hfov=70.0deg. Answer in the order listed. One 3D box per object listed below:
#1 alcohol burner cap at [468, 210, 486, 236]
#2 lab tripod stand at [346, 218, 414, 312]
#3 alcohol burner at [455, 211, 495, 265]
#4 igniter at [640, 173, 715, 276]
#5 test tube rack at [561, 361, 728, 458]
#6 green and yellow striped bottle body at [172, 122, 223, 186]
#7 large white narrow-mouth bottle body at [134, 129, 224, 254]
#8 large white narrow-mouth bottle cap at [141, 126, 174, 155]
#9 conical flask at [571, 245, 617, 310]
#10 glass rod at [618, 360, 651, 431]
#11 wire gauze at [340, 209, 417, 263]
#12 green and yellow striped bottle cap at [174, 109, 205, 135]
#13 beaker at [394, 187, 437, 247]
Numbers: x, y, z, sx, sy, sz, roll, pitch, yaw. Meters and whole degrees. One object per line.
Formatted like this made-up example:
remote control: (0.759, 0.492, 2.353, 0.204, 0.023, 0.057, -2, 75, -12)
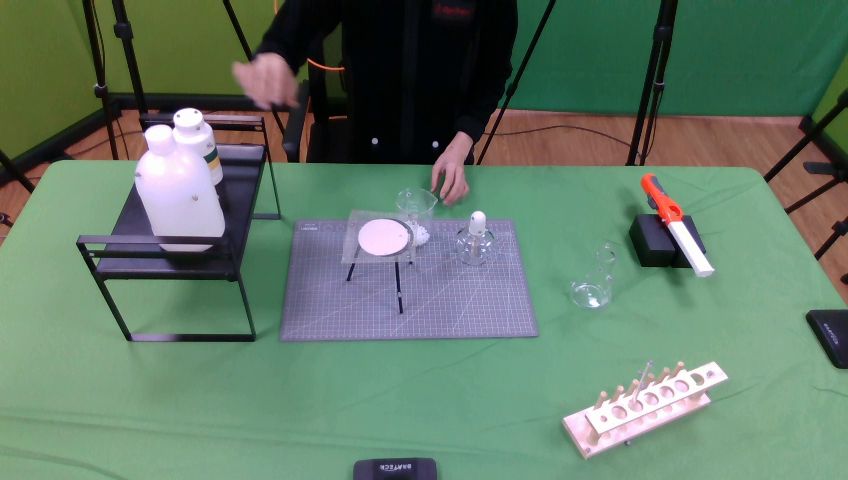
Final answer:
alcohol burner cap: (0.100, -0.034, 1.119, 0.034, 0.048, 0.033, 0, 53, 0)
lab tripod stand: (-0.070, 0.037, 1.075, 0.148, 0.132, 0.147, 1, 48, -1)
alcohol burner: (0.098, -0.010, 1.147, 0.078, 0.120, 0.077, 1, 47, -1)
igniter: (0.495, -0.039, 1.204, 0.057, 0.025, 0.274, -2, 47, -12)
test tube rack: (0.341, 0.248, 0.940, 0.243, 0.085, 0.066, -15, 49, -18)
green and yellow striped bottle body: (-0.373, -0.148, 0.994, 0.063, 0.120, 0.063, 2, 46, -2)
large white narrow-mouth bottle body: (-0.358, -0.075, 0.875, 0.102, 0.195, 0.101, 1, 48, -1)
large white narrow-mouth bottle cap: (-0.356, -0.133, 0.811, 0.038, 0.024, 0.037, 2, 48, -2)
conical flask: (0.313, 0.064, 1.089, 0.075, 0.122, 0.075, 2, 46, -2)
glass rod: (0.298, 0.227, 0.865, 0.008, 0.201, 0.008, -1, 48, 2)
wire gauze: (-0.074, -0.006, 1.023, 0.121, 0.011, 0.124, 3, 46, 0)
green and yellow striped bottle cap: (-0.369, -0.186, 0.954, 0.045, 0.020, 0.045, 3, 50, -3)
beaker: (-0.018, -0.042, 1.179, 0.084, 0.101, 0.073, -9, 48, -13)
